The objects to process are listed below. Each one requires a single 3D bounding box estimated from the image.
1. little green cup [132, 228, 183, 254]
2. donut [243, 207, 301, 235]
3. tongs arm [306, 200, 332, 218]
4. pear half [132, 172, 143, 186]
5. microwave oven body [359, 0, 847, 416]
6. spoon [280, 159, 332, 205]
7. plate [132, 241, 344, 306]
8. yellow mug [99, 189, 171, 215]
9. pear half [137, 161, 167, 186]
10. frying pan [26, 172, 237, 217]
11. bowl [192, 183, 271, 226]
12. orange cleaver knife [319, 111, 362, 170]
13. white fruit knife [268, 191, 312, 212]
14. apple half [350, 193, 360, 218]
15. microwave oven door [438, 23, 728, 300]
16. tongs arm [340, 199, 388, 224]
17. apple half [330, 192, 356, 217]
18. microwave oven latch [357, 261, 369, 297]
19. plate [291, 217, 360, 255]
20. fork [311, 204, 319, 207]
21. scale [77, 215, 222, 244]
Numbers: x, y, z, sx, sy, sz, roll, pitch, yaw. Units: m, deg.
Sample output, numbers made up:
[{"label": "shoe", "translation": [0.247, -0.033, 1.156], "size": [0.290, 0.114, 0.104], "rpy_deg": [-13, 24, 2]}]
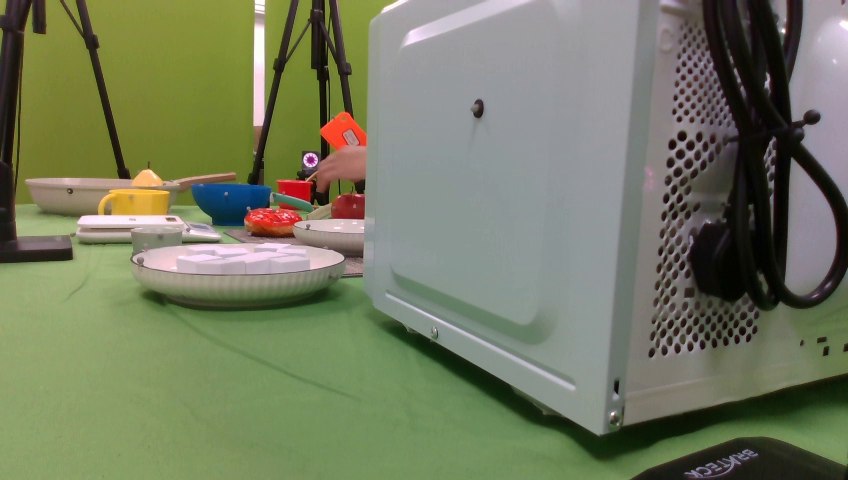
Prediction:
[{"label": "little green cup", "translation": [-0.342, 0.006, 0.779], "size": [0.061, 0.038, 0.061], "rpy_deg": [2, 8, 0]}, {"label": "donut", "translation": [-0.261, -0.032, 1.043], "size": [0.099, 0.048, 0.099], "rpy_deg": [4, 9, 0]}, {"label": "tongs arm", "translation": [-0.235, -0.067, 1.414], "size": [0.028, 0.028, 0.387], "rpy_deg": [-6, 8, 1]}, {"label": "pear half", "translation": [-0.638, -0.113, 1.361], "size": [0.031, 0.088, 0.070], "rpy_deg": [5, 11, 4]}, {"label": "microwave oven body", "translation": [0.211, -0.047, 0.474], "size": [0.444, 0.260, 0.324], "rpy_deg": [-1, 7, -28]}, {"label": "spoon", "translation": [-0.316, -0.159, 1.640], "size": [0.194, 0.022, 0.041], "rpy_deg": [-50, 32, -20]}, {"label": "plate", "translation": [-0.187, 0.033, 0.625], "size": [0.208, 0.039, 0.207], "rpy_deg": [2, 8, 0]}, {"label": "yellow mug", "translation": [-0.518, -0.055, 1.080], "size": [0.099, 0.064, 0.131], "rpy_deg": [6, 9, 26]}, {"label": "pear half", "translation": [-0.602, -0.120, 1.354], "size": [0.056, 0.110, 0.076], "rpy_deg": [4, 11, 6]}, {"label": "frying pan", "translation": [-0.624, -0.118, 1.387], "size": [0.305, 0.102, 0.490], "rpy_deg": [8, 17, 32]}, {"label": "bowl", "translation": [-0.382, -0.071, 1.202], "size": [0.151, 0.077, 0.151], "rpy_deg": [3, 7, 0]}, {"label": "orange cleaver knife", "translation": [-0.111, -0.177, 1.217], "size": [0.212, 0.077, 0.012], "rpy_deg": [35, 5, -17]}, {"label": "white fruit knife", "translation": [-0.364, -0.105, 1.464], "size": [0.208, 0.027, 0.016], "rpy_deg": [15, 0, -34]}, {"label": "apple half", "translation": [-0.111, -0.053, 1.133], "size": [0.033, 0.081, 0.081], "rpy_deg": [0, 7, 16]}, {"label": "microwave oven door", "translation": [0.181, -0.073, 0.621], "size": [0.358, 0.243, 0.039], "rpy_deg": [-2, 8, -29]}, {"label": "tongs arm", "translation": [-0.149, -0.070, 1.429], "size": [0.051, 0.026, 0.383], "rpy_deg": [-5, 9, -15]}, {"label": "apple half", "translation": [-0.149, -0.054, 1.141], "size": [0.053, 0.074, 0.081], "rpy_deg": [2, 11, 14]}, {"label": "microwave oven latch", "translation": [-0.019, 0.033, 0.530], "size": [0.079, 0.029, 0.030], "rpy_deg": [-1, 7, -27]}, {"label": "plate", "translation": [-0.098, -0.007, 0.928], "size": [0.209, 0.038, 0.209], "rpy_deg": [3, 8, 0]}, {"label": "fork", "translation": [-0.356, -0.105, 1.526], "size": [0.208, 0.018, 0.028], "rpy_deg": [16, -6, -41]}, {"label": "scale", "translation": [-0.434, -0.019, 0.963], "size": [0.202, 0.031, 0.148], "rpy_deg": [-1, 9, -27]}]
